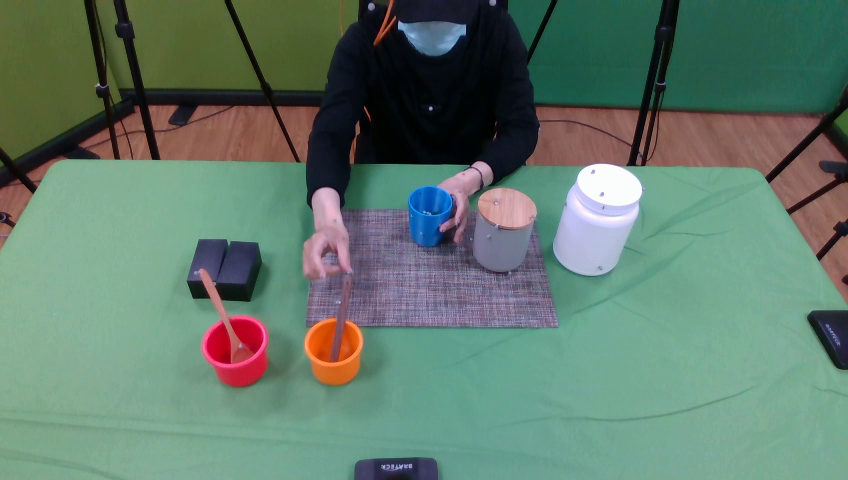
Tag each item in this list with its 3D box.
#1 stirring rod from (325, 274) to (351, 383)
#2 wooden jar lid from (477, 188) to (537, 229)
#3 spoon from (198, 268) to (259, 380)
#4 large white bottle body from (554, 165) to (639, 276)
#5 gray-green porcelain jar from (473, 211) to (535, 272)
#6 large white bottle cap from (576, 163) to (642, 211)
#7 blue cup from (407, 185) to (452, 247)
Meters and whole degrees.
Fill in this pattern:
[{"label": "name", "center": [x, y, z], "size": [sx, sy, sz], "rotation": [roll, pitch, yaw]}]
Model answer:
[{"label": "stirring rod", "center": [-0.137, 0.142, 0.972], "size": [0.014, 0.006, 0.176], "rotation": [10, 89, 0]}, {"label": "wooden jar lid", "center": [0.149, -0.054, 1.094], "size": [0.108, 0.021, 0.107], "rotation": [4, 45, -4]}, {"label": "spoon", "center": [-0.312, 0.132, 0.962], "size": [0.041, 0.021, 0.194], "rotation": [-24, 96, -20]}, {"label": "large white bottle body", "center": [0.326, -0.037, 1.141], "size": [0.131, 0.185, 0.130], "rotation": [2, 46, -2]}, {"label": "gray-green porcelain jar", "center": [0.147, -0.010, 1.139], "size": [0.106, 0.127, 0.105], "rotation": [2, 46, -2]}, {"label": "large white bottle cap", "center": [0.330, -0.096, 1.080], "size": [0.115, 0.018, 0.114], "rotation": [2, 46, -2]}, {"label": "blue cup", "center": [0.008, -0.041, 1.176], "size": [0.093, 0.101, 0.092], "rotation": [2, 47, -2]}]
